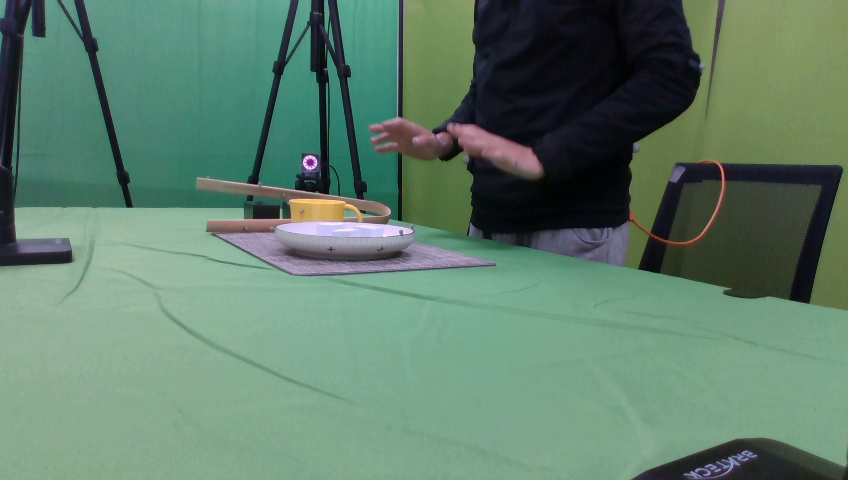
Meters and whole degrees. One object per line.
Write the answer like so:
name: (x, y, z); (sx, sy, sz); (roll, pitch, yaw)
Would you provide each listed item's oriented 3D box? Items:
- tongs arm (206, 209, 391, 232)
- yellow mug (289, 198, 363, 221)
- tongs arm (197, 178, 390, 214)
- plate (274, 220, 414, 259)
tongs arm: (-0.224, -0.037, 1.170); (0.390, 0.028, 0.028); (-4, 31, -37)
yellow mug: (-0.174, -0.039, 1.071); (0.131, 0.064, 0.100); (3, 7, 0)
tongs arm: (-0.256, -0.083, 1.230); (0.387, 0.026, 0.050); (5, 30, -26)
plate: (-0.118, -0.001, 0.902); (0.208, 0.039, 0.207); (3, 7, 0)
